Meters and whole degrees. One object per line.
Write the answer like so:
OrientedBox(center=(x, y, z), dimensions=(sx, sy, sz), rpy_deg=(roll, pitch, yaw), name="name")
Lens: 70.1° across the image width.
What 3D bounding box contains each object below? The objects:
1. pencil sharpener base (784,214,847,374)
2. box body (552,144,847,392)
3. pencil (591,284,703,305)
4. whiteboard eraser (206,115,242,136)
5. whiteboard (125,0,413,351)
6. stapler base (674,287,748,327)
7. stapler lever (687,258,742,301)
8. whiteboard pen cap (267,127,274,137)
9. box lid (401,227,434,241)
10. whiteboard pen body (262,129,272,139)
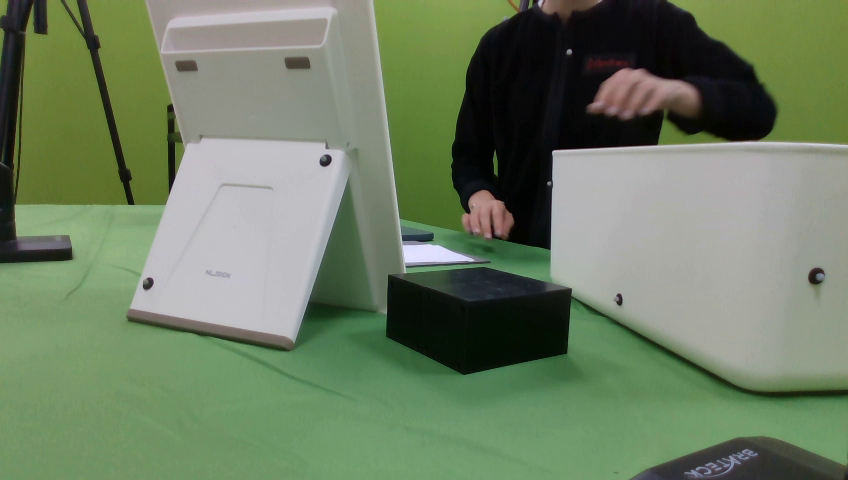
OrientedBox(center=(0.322, 0.038, 0.442), dimensions=(0.077, 0.107, 0.061), rpy_deg=(1, 8, -17), name="pencil sharpener base")
OrientedBox(center=(0.290, 0.002, 0.549), dimensions=(0.255, 0.160, 0.363), rpy_deg=(2, 7, -10), name="box body")
OrientedBox(center=(0.248, 0.057, 0.656), dimensions=(0.195, 0.012, 0.012), rpy_deg=(-2, 9, -35), name="pencil")
OrientedBox(center=(-0.438, -0.249, 1.320), dimensions=(0.056, 0.042, 0.112), rpy_deg=(-3, 9, -30), name="whiteboard eraser")
OrientedBox(center=(-0.151, -0.050, 0.471), dimensions=(0.216, 0.305, 0.144), rpy_deg=(6, 27, 24), name="whiteboard")
OrientedBox(center=(0.281, 0.061, 0.586), dimensions=(0.041, 0.024, 0.131), rpy_deg=(11, 9, 37), name="stapler base")
OrientedBox(center=(0.283, 0.035, 0.585), dimensions=(0.026, 0.040, 0.119), rpy_deg=(11, 8, 37), name="stapler lever")
OrientedBox(center=(-0.340, -0.239, 1.337), dimensions=(0.018, 0.018, 0.033), rpy_deg=(1, -1, -15), name="whiteboard pen cap")
OrientedBox(center=(-0.196, -0.015, 1.105), dimensions=(0.373, 0.015, 0.262), rpy_deg=(-1, 7, -32), name="box lid")
OrientedBox(center=(-0.361, -0.245, 1.393), dimensions=(0.017, 0.017, 0.140), rpy_deg=(0, 5, -20), name="whiteboard pen body")
